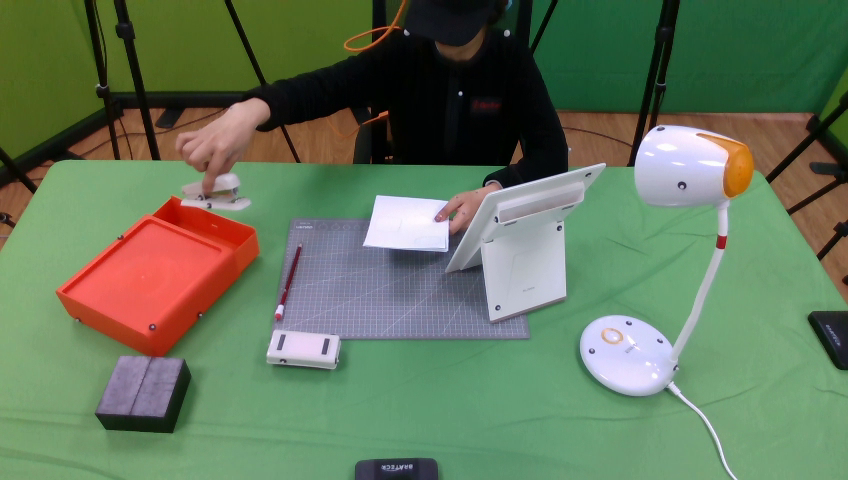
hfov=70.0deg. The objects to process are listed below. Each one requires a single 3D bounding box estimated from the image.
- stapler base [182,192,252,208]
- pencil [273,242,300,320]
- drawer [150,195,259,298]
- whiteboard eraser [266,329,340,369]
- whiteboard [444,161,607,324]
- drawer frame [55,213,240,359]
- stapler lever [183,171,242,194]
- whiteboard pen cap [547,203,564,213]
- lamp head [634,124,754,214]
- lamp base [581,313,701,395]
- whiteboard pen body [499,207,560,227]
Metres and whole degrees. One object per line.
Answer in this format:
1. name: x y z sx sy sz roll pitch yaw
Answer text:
1. stapler base: -0.366 -0.076 1.066 0.130 0.024 0.041 4 24 23
2. pencil: -0.249 0.071 1.115 0.012 0.012 0.193 5 43 1
3. drawer: -0.442 0.033 1.093 0.194 0.073 0.211 21 49 15
4. whiteboard eraser: -0.198 0.181 0.994 0.113 0.042 0.055 5 45 1
5. whiteboard: 0.186 0.025 1.029 0.217 0.306 0.143 -15 68 -18
6. drawer frame: -0.469 0.072 1.050 0.201 0.083 0.213 21 49 14
7. stapler lever: -0.370 -0.100 1.056 0.118 0.040 0.027 3 24 23
8. whiteboard pen cap: 0.277 -0.066 1.275 0.033 0.018 0.018 -18 50 -15
9. lamp head: 0.351 -0.089 0.776 0.112 0.113 0.122 -30 30 -28
10. lamp base: 0.361 0.144 0.973 0.178 0.181 0.160 34 53 23
11. whiteboard pen body: 0.221 -0.051 1.259 0.141 0.017 0.017 -16 49 -16
